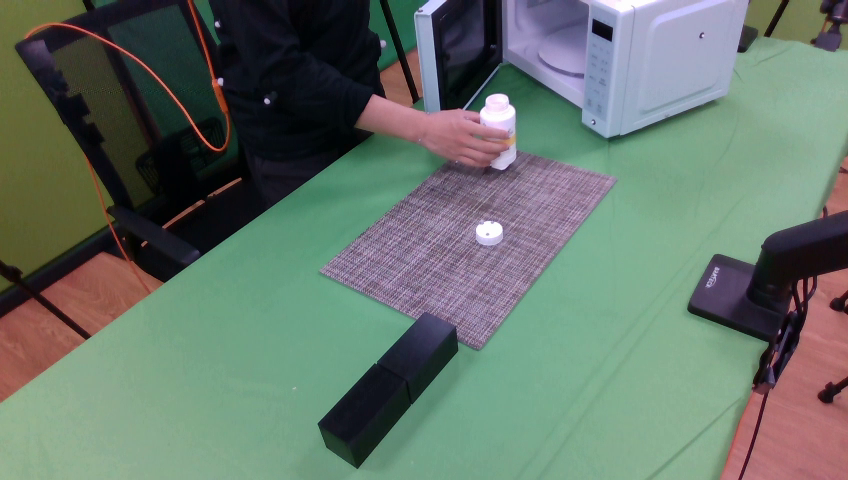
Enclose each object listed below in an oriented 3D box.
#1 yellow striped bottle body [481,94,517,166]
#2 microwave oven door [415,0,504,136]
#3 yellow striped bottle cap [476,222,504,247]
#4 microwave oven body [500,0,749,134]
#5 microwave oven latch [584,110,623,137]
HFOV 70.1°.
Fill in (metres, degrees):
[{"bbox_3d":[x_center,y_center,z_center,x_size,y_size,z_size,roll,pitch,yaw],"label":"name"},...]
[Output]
[{"bbox_3d":[0.133,-0.196,1.070,0.063,0.121,0.062,-4,42,4],"label":"yellow striped bottle body"},{"bbox_3d":[0.084,-0.409,1.239,0.039,0.245,0.356,13,45,23],"label":"microwave oven door"},{"bbox_3d":[0.105,-0.010,0.966,0.044,0.019,0.044,-3,39,3],"label":"yellow striped bottle cap"},{"bbox_3d":[0.381,-0.444,1.246,0.327,0.261,0.437,-22,42,-16],"label":"microwave oven body"},{"bbox_3d":[0.337,-0.222,1.142,0.030,0.029,0.078,-21,42,-14],"label":"microwave oven latch"}]
